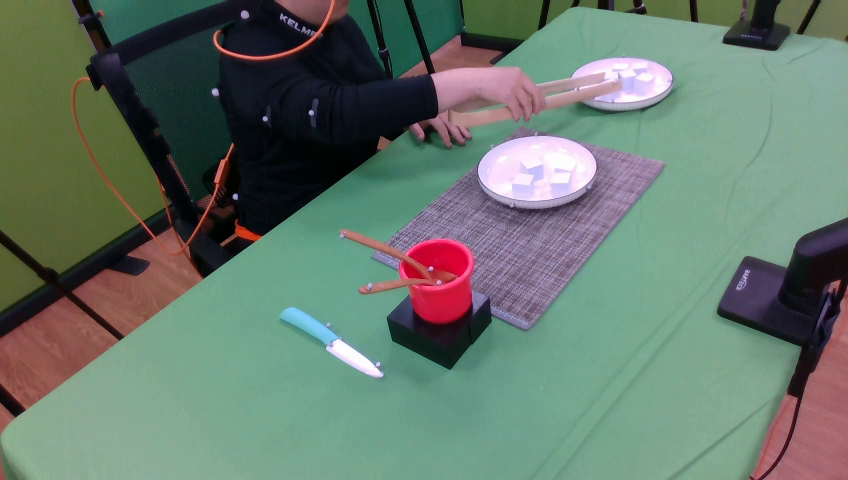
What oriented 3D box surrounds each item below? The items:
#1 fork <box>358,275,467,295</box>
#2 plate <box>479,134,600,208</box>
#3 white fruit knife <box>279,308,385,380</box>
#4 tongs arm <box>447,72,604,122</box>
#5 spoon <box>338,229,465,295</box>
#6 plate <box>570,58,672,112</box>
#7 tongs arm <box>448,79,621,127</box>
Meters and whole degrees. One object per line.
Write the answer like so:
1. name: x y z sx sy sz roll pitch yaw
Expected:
1. fork: -0.009 0.056 0.739 0.028 0.018 0.209 48 23 26
2. plate: 0.202 -0.117 1.065 0.207 0.039 0.206 -5 40 5
3. white fruit knife: -0.130 0.143 0.845 0.205 0.016 0.027 25 79 32
4. tongs arm: 0.205 -0.284 1.176 0.390 0.028 0.028 -18 43 -25
5. spoon: -0.025 0.026 0.776 0.021 0.195 0.041 -41 34 32
6. plate: 0.411 -0.323 1.274 0.209 0.038 0.208 -5 41 5
7. tongs arm: 0.220 -0.267 1.153 0.387 0.026 0.050 -19 41 -26
